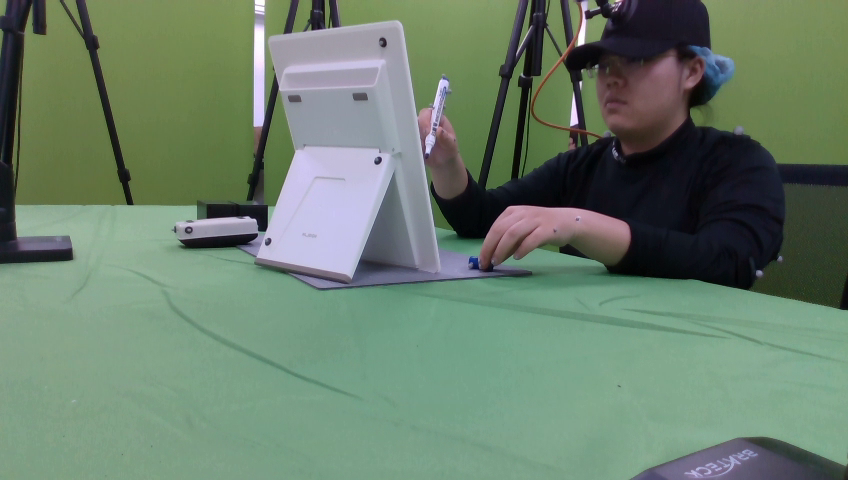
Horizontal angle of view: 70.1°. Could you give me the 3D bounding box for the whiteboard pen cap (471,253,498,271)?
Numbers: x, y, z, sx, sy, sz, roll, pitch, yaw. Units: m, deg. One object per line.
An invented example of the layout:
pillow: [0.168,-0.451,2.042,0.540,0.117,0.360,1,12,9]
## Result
whiteboard pen cap: [0.080,0.029,0.797,0.033,0.018,0.018,-15,12,-15]

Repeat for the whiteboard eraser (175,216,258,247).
whiteboard eraser: [-0.313,-0.013,0.914,0.113,0.042,0.055,-5,12,-30]

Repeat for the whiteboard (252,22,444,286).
whiteboard: [-0.125,-0.081,0.714,0.216,0.305,0.144,9,29,36]

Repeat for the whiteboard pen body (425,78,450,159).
whiteboard pen body: [0.018,-0.183,0.910,0.017,0.140,0.017,12,-20,5]
